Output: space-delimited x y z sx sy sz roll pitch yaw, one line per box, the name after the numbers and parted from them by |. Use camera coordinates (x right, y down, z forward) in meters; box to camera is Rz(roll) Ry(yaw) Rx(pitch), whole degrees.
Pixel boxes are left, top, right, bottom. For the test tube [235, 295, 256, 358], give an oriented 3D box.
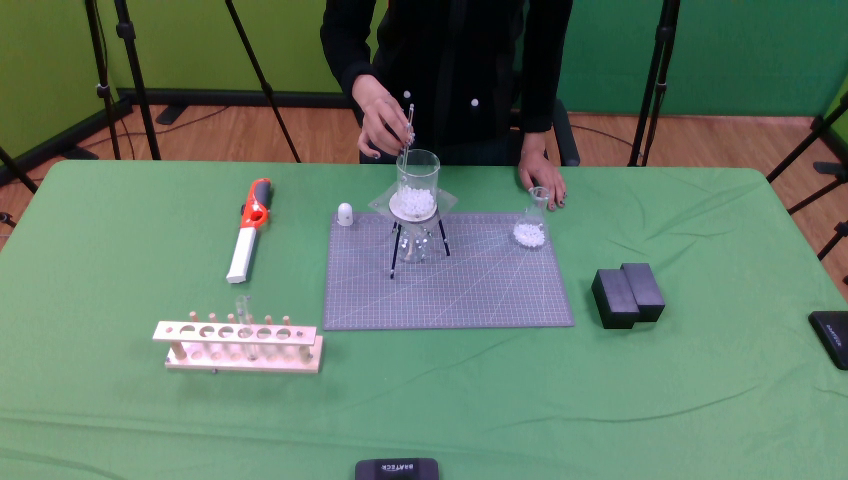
-0.274 0.136 0.933 0.017 0.151 0.017 4 46 -4 | test tube

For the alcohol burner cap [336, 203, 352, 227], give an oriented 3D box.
-0.162 -0.053 1.221 0.034 0.048 0.033 2 47 -2 | alcohol burner cap

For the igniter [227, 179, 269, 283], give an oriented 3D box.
-0.345 -0.027 1.195 0.057 0.025 0.274 -6 46 5 | igniter

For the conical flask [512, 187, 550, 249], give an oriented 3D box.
0.217 -0.048 1.190 0.075 0.122 0.075 2 46 -2 | conical flask

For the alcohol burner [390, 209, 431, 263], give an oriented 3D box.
-0.024 -0.014 1.145 0.078 0.119 0.077 4 44 -3 | alcohol burner

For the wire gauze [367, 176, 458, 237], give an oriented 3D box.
-0.020 -0.066 1.089 0.124 0.011 0.121 27 47 22 | wire gauze

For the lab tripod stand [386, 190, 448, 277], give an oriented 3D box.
-0.021 -0.018 1.135 0.148 0.132 0.147 3 44 -3 | lab tripod stand

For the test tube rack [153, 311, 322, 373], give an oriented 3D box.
-0.293 0.160 0.978 0.242 0.085 0.066 3 46 -2 | test tube rack

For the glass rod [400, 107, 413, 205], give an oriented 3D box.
-0.030 -0.134 1.008 0.008 0.200 0.008 4 44 -4 | glass rod

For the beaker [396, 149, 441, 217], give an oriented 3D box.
-0.015 -0.098 1.054 0.074 0.101 0.083 -31 55 -31 | beaker
